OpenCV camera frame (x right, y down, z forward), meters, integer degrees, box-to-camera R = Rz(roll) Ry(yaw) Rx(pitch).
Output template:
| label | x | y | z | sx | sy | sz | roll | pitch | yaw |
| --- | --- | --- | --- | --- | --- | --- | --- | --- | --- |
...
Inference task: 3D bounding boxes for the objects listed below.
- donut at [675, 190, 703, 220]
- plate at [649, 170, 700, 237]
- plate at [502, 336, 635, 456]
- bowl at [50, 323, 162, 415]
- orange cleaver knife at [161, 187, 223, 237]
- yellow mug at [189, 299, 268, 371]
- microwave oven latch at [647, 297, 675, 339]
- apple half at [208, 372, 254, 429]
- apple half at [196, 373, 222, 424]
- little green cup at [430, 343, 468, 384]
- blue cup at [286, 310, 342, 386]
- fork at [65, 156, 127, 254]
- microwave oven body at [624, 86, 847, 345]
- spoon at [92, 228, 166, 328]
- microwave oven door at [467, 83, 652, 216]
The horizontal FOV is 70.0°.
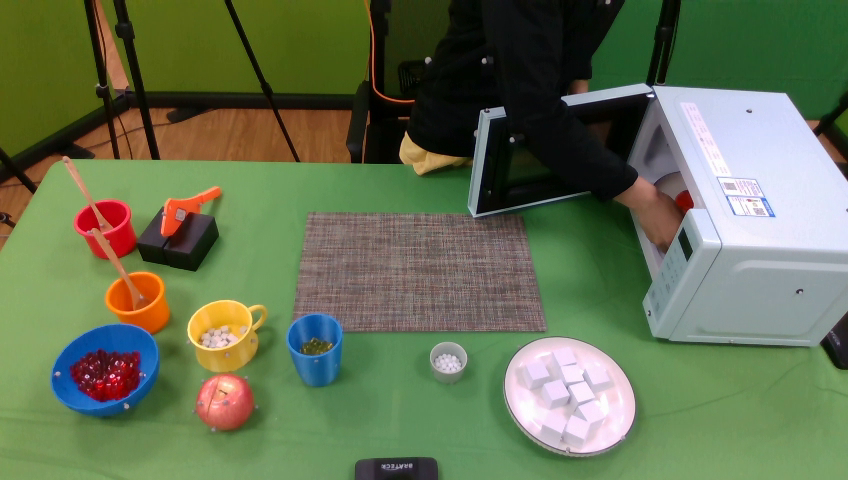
| label | x | y | z | sx | sy | sz | roll | pitch | yaw |
| --- | --- | --- | --- | --- | --- | --- | --- | --- | --- |
| donut | 0.538 | -0.062 | 1.173 | 0.099 | 0.048 | 0.098 | 1 | 40 | 0 |
| plate | 0.542 | -0.053 | 1.181 | 0.209 | 0.038 | 0.208 | 2 | 49 | -2 |
| plate | 0.225 | 0.248 | 0.963 | 0.208 | 0.039 | 0.206 | 2 | 46 | -2 |
| bowl | -0.472 | 0.209 | 0.924 | 0.151 | 0.077 | 0.150 | 2 | 45 | -2 |
| orange cleaver knife | -0.448 | -0.058 | 1.180 | 0.012 | 0.077 | 0.211 | 13 | 17 | 6 |
| yellow mug | -0.316 | 0.148 | 1.002 | 0.131 | 0.064 | 0.099 | -32 | 56 | -31 |
| microwave oven latch | 0.413 | 0.134 | 1.061 | 0.030 | 0.029 | 0.078 | 5 | 45 | 2 |
| apple half | -0.282 | 0.244 | 0.908 | 0.053 | 0.075 | 0.080 | 7 | 43 | -1 |
| apple half | -0.322 | 0.239 | 0.907 | 0.033 | 0.081 | 0.081 | 7 | 46 | -1 |
| little green cup | 0.039 | 0.204 | 0.993 | 0.061 | 0.039 | 0.061 | 2 | 46 | -2 |
| blue cup | -0.169 | 0.179 | 0.958 | 0.093 | 0.101 | 0.092 | 1 | 44 | -1 |
| fork | -0.614 | -0.064 | 1.130 | 0.028 | 0.018 | 0.207 | -29 | 97 | -17 |
| microwave oven body | 0.568 | -0.053 | 1.118 | 0.326 | 0.261 | 0.439 | 2 | 45 | -1 |
| spoon | -0.495 | 0.062 | 1.014 | 0.041 | 0.194 | 0.021 | -34 | 13 | -32 |
| microwave oven door | 0.267 | -0.180 | 1.214 | 0.356 | 0.245 | 0.039 | -13 | 49 | -15 |
